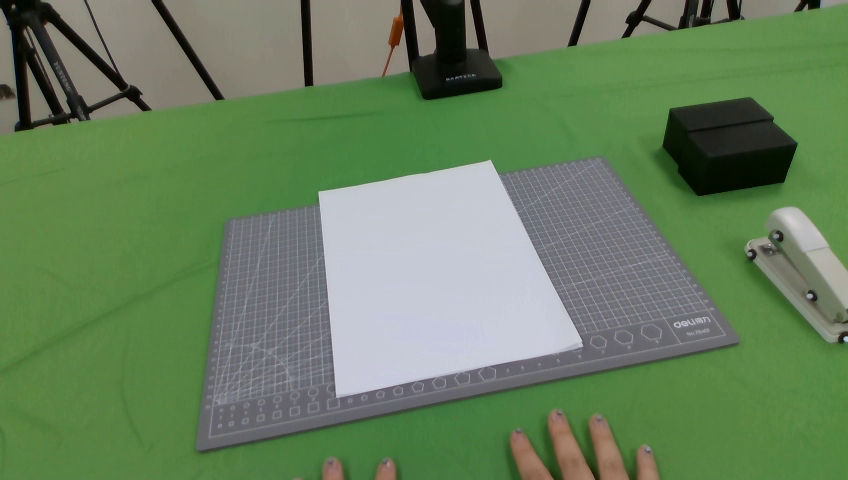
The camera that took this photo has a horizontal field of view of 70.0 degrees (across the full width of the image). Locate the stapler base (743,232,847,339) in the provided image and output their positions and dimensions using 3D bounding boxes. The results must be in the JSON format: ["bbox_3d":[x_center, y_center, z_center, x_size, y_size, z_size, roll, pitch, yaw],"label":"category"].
[{"bbox_3d":[0.340,0.031,0.543,0.041,0.025,0.129,-13,43,-5],"label":"stapler base"}]

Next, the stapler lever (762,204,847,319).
[{"bbox_3d":[0.339,0.014,0.526,0.027,0.040,0.116,-13,42,-5],"label":"stapler lever"}]
